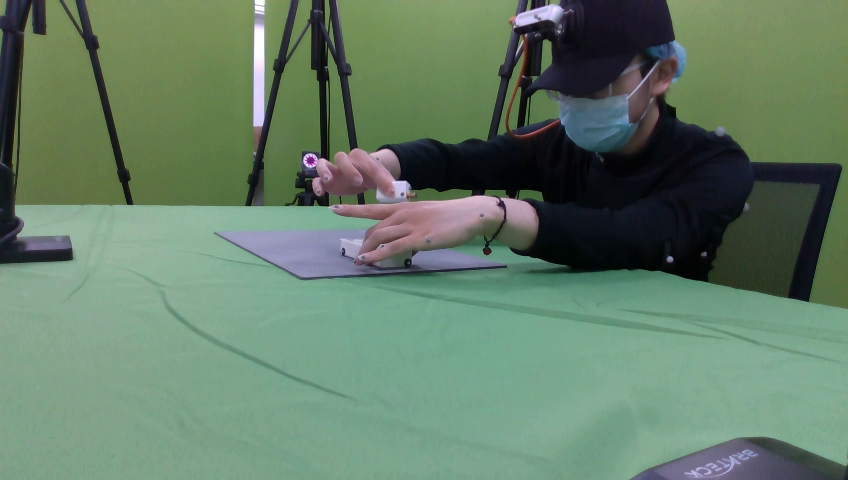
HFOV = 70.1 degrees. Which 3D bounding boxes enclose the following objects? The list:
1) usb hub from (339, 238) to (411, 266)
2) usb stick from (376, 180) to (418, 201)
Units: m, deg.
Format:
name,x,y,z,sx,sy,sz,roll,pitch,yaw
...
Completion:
name,x,y,z,sx,sy,sz,roll,pitch,yaw
usb hub,-0.070,0.015,0.832,0.050,0.025,0.124,-2,7,-33
usb stick,-0.037,-0.070,0.853,0.059,0.027,0.021,1,-12,17
